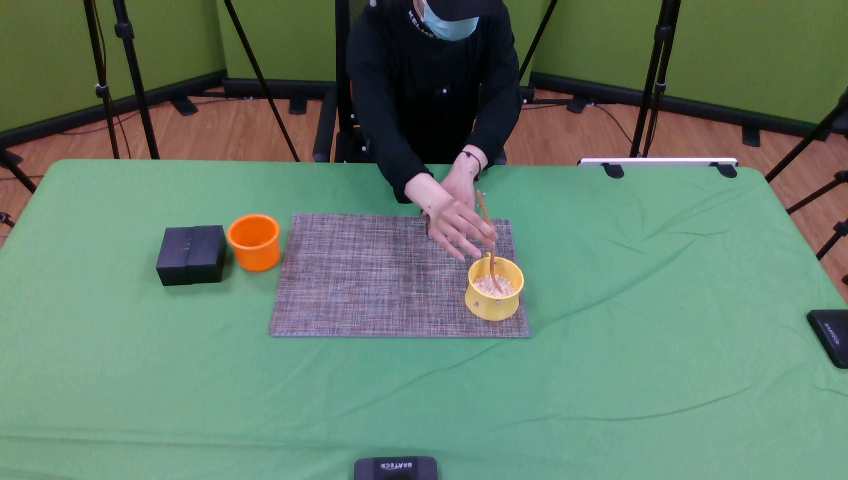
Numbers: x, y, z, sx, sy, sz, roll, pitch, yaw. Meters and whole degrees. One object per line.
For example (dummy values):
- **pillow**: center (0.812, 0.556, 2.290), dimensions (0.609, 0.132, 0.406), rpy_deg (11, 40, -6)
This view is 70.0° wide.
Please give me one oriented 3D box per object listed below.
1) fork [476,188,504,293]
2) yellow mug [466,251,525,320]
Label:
- **fork**: center (0.115, 0.004, 1.055), dimensions (0.018, 0.208, 0.028), rpy_deg (-11, 27, 4)
- **yellow mug**: center (0.125, 0.074, 1.096), dimensions (0.100, 0.064, 0.130), rpy_deg (-4, 46, -7)
